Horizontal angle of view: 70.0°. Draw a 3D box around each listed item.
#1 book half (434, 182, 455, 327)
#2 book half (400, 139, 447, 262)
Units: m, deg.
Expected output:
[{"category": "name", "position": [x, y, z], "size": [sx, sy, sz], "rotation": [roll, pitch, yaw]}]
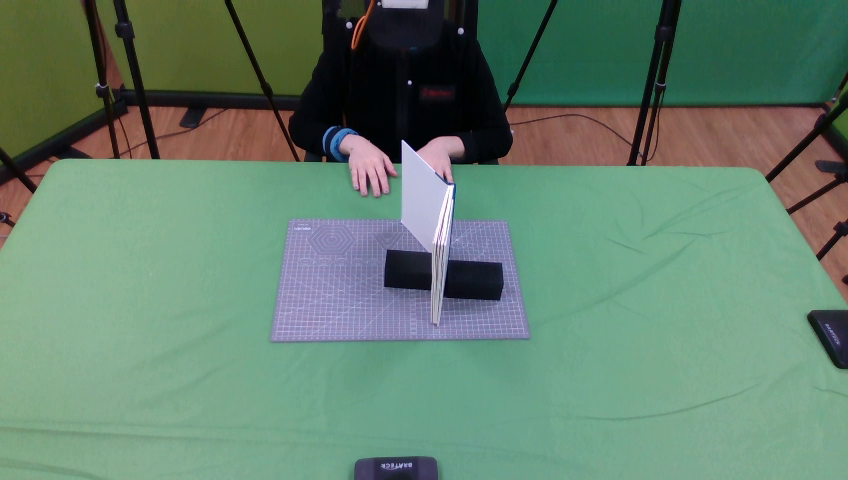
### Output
[{"category": "book half", "position": [0.033, 0.028, 1.036], "size": [0.016, 0.211, 0.148], "rotation": [7, 46, 4]}, {"category": "book half", "position": [-0.005, -0.066, 1.124], "size": [0.007, 0.211, 0.142], "rotation": [-26, 53, -24]}]
